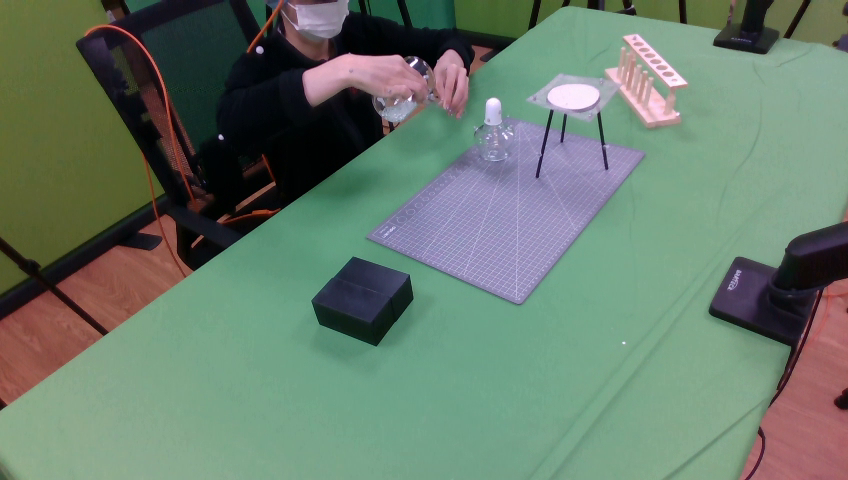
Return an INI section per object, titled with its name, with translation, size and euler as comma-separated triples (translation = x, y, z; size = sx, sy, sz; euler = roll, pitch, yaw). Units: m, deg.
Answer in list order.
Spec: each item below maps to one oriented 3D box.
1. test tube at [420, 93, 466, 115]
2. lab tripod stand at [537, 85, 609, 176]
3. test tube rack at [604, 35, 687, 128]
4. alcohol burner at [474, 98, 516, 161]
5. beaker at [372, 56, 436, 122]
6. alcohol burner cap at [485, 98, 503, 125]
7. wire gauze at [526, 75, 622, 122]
[test tube]
translation = 0.039, -0.256, 1.141
size = 0.017, 0.017, 0.151
euler = 24, 13, 31
[lab tripod stand]
translation = 0.259, -0.192, 1.068
size = 0.148, 0.132, 0.147
euler = -4, 43, 4
[test tube rack]
translation = 0.447, -0.330, 1.241
size = 0.067, 0.085, 0.241
euler = -9, 41, -1
[alcohol burner]
translation = 0.131, -0.208, 1.121
size = 0.078, 0.119, 0.077
euler = -5, 40, 5
[beaker]
translation = -0.035, -0.252, 1.030
size = 0.073, 0.084, 0.100
euler = 12, 49, 33
[alcohol burner cap]
translation = 0.126, -0.234, 1.097
size = 0.034, 0.048, 0.033
euler = -3, 39, 3
[wire gauze]
translation = 0.255, -0.248, 1.030
size = 0.124, 0.011, 0.122
euler = 24, 51, 32
